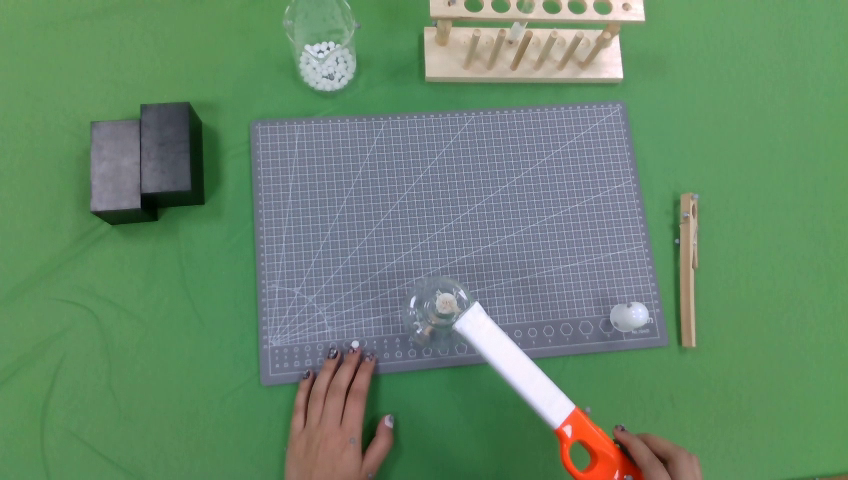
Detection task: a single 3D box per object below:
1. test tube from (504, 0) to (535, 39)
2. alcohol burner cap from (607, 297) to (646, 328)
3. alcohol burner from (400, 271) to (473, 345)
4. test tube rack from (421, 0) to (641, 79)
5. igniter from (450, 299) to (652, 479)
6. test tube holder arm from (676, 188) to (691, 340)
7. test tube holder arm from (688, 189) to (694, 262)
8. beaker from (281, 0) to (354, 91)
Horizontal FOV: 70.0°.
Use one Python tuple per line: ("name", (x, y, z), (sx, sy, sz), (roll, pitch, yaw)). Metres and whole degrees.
("test tube", (0.113, -0.263, 0.663), (0.017, 0.150, 0.017), (2, 78, -8))
("alcohol burner cap", (0.225, 0.078, 0.668), (0.034, 0.048, 0.033), (1, 76, -5))
("alcohol burner", (0.015, 0.067, 0.615), (0.078, 0.119, 0.077), (2, 76, -6))
("test tube rack", (0.121, -0.240, 0.710), (0.243, 0.085, 0.066), (-1, 78, -5))
("igniter", (0.128, 0.162, 0.541), (0.057, 0.025, 0.276), (-44, 89, -16))
("test tube holder arm", (0.301, 0.026, 0.700), (0.013, 0.015, 0.177), (14, 75, -37))
("test tube holder arm", (0.309, -0.016, 0.713), (0.010, 0.015, 0.087), (16, 74, -37))
("beaker", (-0.115, -0.217, 0.676), (0.074, 0.100, 0.083), (-2, 78, -5))
